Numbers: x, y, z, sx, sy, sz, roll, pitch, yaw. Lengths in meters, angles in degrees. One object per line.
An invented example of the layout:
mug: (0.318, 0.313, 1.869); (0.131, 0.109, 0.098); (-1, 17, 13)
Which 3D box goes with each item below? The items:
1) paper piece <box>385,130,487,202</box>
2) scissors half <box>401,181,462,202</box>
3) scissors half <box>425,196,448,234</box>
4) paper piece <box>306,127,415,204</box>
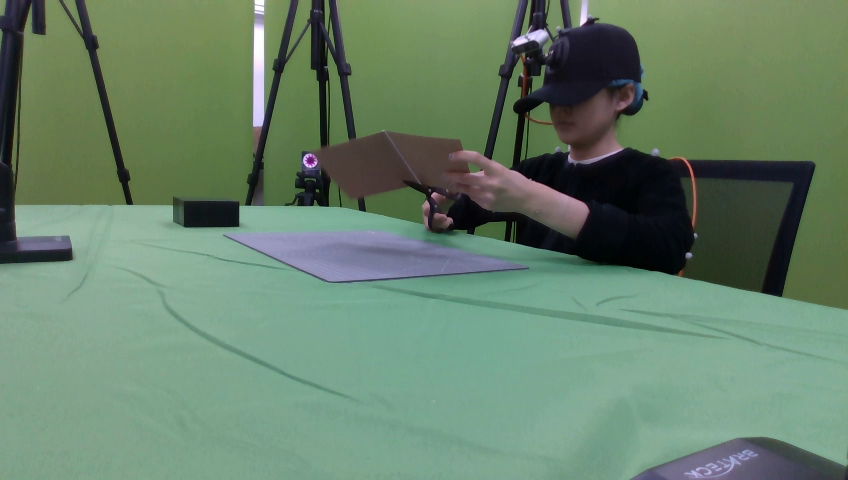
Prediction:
paper piece: (0.019, -0.110, 0.912); (0.135, 0.004, 0.136); (16, -27, 34)
scissors half: (0.016, -0.089, 1.028); (0.012, 0.040, 0.176); (23, 13, 35)
scissors half: (0.005, -0.067, 1.026); (0.013, 0.040, 0.176); (17, -30, 34)
paper piece: (-0.096, -0.113, 0.971); (0.138, 0.008, 0.136); (-15, -40, 18)
